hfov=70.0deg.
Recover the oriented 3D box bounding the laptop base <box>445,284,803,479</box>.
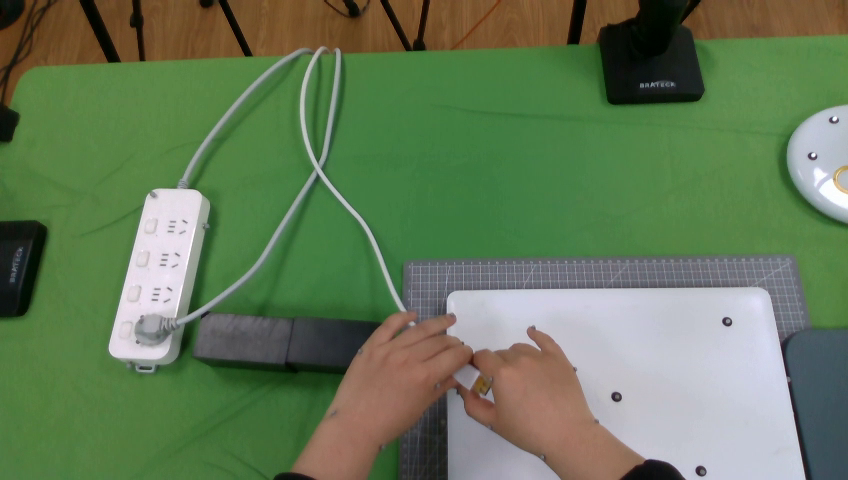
[{"bbox_3d":[0.200,0.161,0.642,0.354,0.023,0.234,-1,72,3],"label":"laptop base"}]

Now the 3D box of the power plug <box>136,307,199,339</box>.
[{"bbox_3d":[-0.280,0.095,0.663,0.072,0.053,0.035,14,69,5],"label":"power plug"}]

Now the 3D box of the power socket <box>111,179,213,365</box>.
[{"bbox_3d":[-0.303,0.031,0.710,0.072,0.033,0.225,3,68,4],"label":"power socket"}]

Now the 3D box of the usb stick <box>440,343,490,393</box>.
[{"bbox_3d":[0.043,0.125,0.585,0.058,0.027,0.021,43,107,46],"label":"usb stick"}]

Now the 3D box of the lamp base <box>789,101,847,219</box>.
[{"bbox_3d":[0.520,-0.132,0.652,0.160,0.181,0.178,32,71,14],"label":"lamp base"}]

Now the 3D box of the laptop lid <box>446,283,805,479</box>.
[{"bbox_3d":[0.199,0.159,0.629,0.356,0.013,0.240,1,71,3],"label":"laptop lid"}]

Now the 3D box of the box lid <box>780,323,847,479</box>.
[{"bbox_3d":[0.512,0.259,0.589,0.263,0.015,0.368,-1,69,2],"label":"box lid"}]
